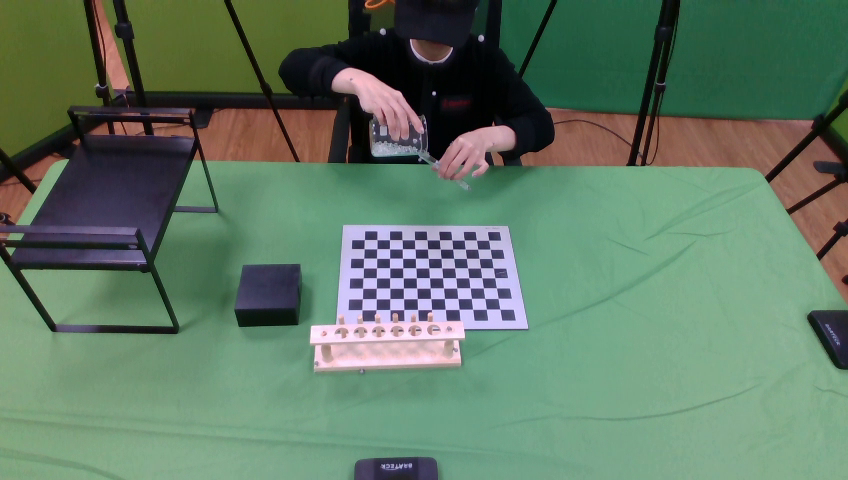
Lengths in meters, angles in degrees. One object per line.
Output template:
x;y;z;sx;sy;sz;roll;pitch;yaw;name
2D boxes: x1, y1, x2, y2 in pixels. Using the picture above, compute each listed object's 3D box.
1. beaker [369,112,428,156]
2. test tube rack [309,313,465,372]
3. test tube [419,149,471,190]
-0.048;-0.187;1.096;0.100;0.084;0.073;-4;44;-8;beaker
-0.059;0.161;0.990;0.242;0.085;0.066;-1;46;-5;test tube rack
0.044;-0.135;1.178;0.017;0.151;0.017;-23;52;34;test tube
